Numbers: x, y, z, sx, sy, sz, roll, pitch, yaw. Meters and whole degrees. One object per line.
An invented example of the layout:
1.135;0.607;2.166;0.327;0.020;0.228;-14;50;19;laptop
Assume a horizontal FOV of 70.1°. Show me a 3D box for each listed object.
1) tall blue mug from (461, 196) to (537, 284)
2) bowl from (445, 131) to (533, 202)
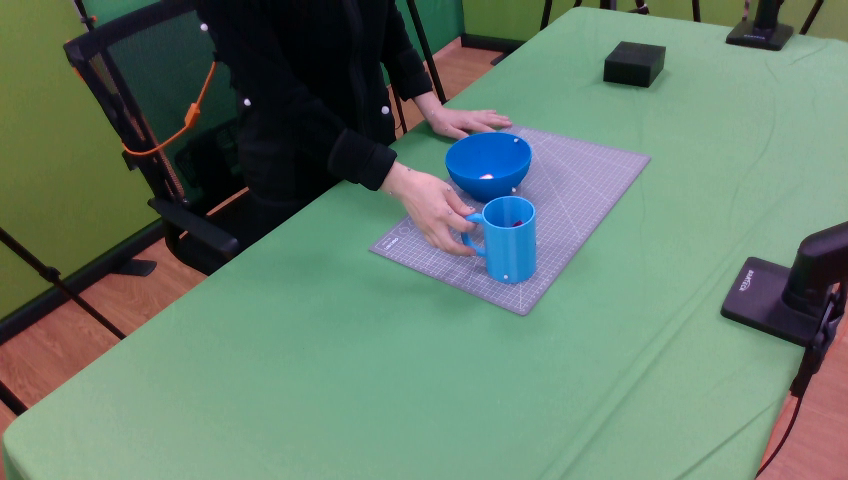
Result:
0.112;0.002;0.889;0.107;0.108;0.077;-9;41;0;tall blue mug
0.115;-0.119;1.056;0.151;0.077;0.150;-6;40;5;bowl
